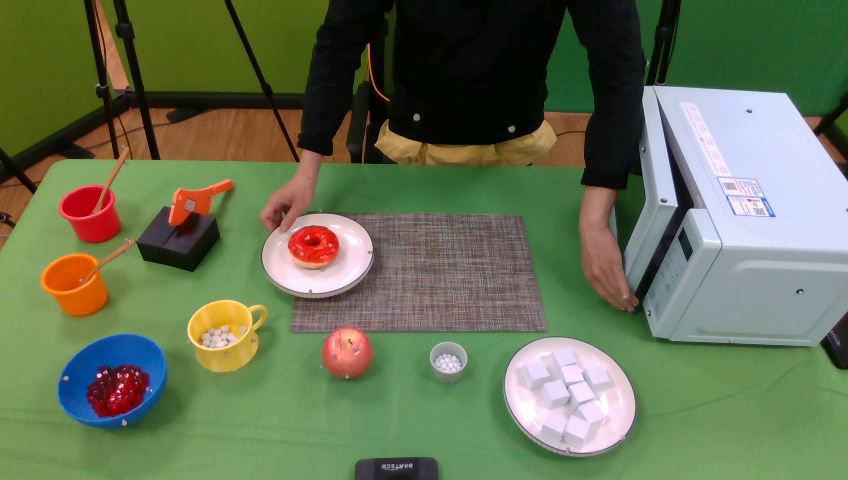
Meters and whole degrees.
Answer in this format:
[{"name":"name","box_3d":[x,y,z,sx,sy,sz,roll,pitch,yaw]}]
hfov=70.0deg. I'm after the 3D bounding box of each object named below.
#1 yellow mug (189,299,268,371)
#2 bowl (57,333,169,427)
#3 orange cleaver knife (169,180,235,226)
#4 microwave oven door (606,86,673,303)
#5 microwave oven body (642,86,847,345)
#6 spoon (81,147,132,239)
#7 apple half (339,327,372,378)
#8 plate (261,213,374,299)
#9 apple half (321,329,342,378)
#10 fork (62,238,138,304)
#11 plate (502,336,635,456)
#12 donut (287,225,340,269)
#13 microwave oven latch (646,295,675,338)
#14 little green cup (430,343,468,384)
[{"name":"yellow mug","box_3d":[-0.316,0.148,1.002,0.131,0.064,0.099,-33,56,-31]},{"name":"bowl","box_3d":[-0.455,0.223,0.912,0.151,0.077,0.150,3,45,-2]},{"name":"orange cleaver knife","box_3d":[-0.435,-0.076,1.199,0.012,0.077,0.211,17,17,9]},{"name":"microwave oven door","box_3d":[0.399,-0.096,1.141,0.039,0.245,0.354,8,46,4]},{"name":"microwave oven body","box_3d":[0.568,-0.053,1.118,0.326,0.261,0.439,2,45,-1]},{"name":"spoon","box_3d":[-0.603,-0.089,1.156,0.041,0.022,0.193,28,94,18]},{"name":"apple half","box_3d":[-0.111,0.183,0.980,0.053,0.075,0.080,-2,42,-12]},{"name":"plate","box_3d":[-0.198,0.032,1.137,0.209,0.038,0.208,2,46,-2]},{"name":"apple half","box_3d":[-0.149,0.186,0.972,0.033,0.081,0.080,-2,46,-12]},{"name":"fork","box_3d":[-0.547,0.053,1.019,0.207,0.019,0.028,-36,41,23]},{"name":"plate","box_3d":[0.225,0.248,0.963,0.208,0.039,0.206,2,46,-2]},{"name":"donut","box_3d":[-0.207,0.013,1.139,0.099,0.048,0.098,3,45,-3]},{"name":"microwave oven latch","box_3d":[0.412,0.134,1.061,0.030,0.029,0.078,3,45,1]},{"name":"little green cup","box_3d":[0.039,0.203,0.994,0.061,0.039,0.061,2,46,-2]}]
